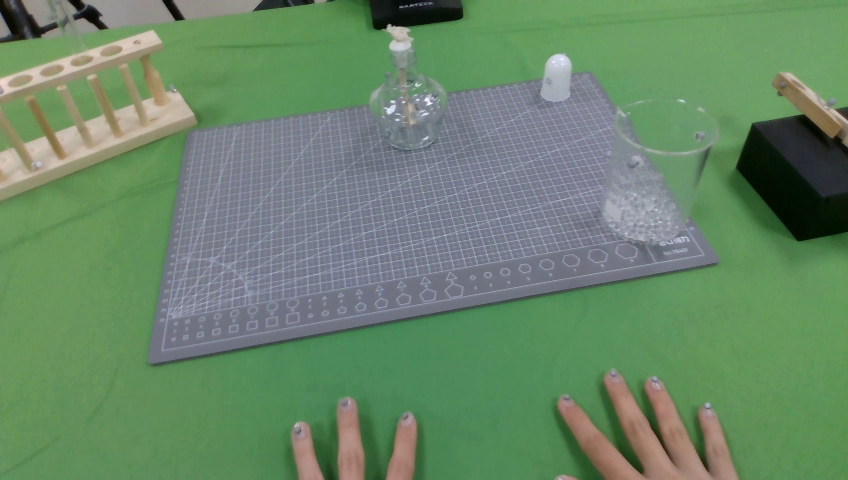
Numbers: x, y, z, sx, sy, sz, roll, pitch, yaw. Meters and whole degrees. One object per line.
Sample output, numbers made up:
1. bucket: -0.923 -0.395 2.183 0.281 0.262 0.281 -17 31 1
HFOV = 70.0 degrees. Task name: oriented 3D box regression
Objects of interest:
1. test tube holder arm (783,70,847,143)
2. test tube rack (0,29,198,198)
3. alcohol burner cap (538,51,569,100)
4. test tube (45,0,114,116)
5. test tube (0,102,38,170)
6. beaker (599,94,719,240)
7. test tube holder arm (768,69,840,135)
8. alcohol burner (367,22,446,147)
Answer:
1. test tube holder arm: 0.349 -0.091 0.500 0.013 0.015 0.176 -6 46 -13
2. test tube rack: -0.369 -0.124 0.612 0.242 0.086 0.066 -27 51 -20
3. alcohol burner cap: 0.139 -0.178 0.646 0.034 0.048 0.033 -2 47 3
4. test tube: -0.345 -0.190 0.603 0.017 0.151 0.017 -2 44 2
5. test tube: -0.398 -0.127 0.554 0.017 0.152 0.017 -2 44 2
6. beaker: 0.181 -0.057 0.489 0.074 0.101 0.083 -32 51 -23
7. test tube holder arm: 0.333 -0.122 0.529 0.010 0.015 0.087 -6 46 -13
8. alcohol burner: -0.019 -0.151 0.585 0.078 0.120 0.077 -4 45 4
